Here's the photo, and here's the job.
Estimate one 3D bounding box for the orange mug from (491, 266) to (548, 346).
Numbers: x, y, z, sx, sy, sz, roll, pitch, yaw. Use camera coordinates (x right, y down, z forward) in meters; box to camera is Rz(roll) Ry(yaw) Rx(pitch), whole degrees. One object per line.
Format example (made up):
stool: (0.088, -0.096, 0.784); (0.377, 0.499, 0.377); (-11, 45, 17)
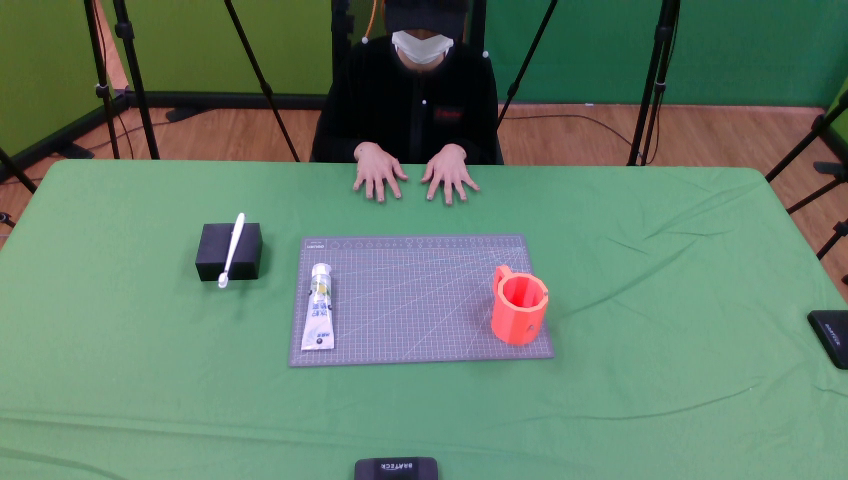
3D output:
orange mug: (0.155, 0.107, 1.051); (0.083, 0.101, 0.125); (-15, 53, -17)

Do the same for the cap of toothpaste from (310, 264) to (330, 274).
cap of toothpaste: (-0.191, 0.057, 1.111); (0.037, 0.037, 0.011); (-2, 50, -6)

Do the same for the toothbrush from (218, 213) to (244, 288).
toothbrush: (-0.347, 0.013, 1.094); (0.014, 0.017, 0.180); (-2, 46, 1)

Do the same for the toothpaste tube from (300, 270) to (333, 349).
toothpaste tube: (-0.187, 0.118, 1.062); (0.055, 0.035, 0.164); (-6, 50, -1)
